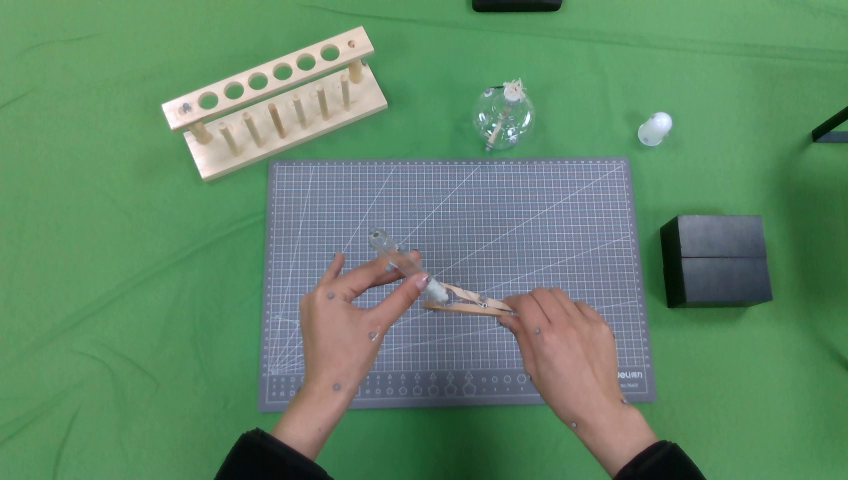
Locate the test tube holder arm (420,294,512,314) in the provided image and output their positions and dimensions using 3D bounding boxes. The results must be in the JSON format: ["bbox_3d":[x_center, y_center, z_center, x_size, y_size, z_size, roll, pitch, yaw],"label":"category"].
[{"bbox_3d":[0.040,0.061,0.575,0.087,0.015,0.010,5,81,9],"label":"test tube holder arm"}]

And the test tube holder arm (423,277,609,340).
[{"bbox_3d":[0.084,0.064,0.568,0.178,0.015,0.013,14,83,10],"label":"test tube holder arm"}]

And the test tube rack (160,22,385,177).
[{"bbox_3d":[-0.171,-0.164,0.718,0.242,0.085,0.066,-25,77,-8],"label":"test tube rack"}]

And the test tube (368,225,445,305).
[{"bbox_3d":[-0.011,0.026,0.515,0.017,0.152,0.017,-9,63,18],"label":"test tube"}]

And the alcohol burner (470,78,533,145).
[{"bbox_3d":[0.095,-0.160,0.717,0.078,0.119,0.077,1,77,-3],"label":"alcohol burner"}]

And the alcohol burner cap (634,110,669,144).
[{"bbox_3d":[0.288,-0.144,0.759,0.034,0.048,0.033,0,75,-1],"label":"alcohol burner cap"}]
